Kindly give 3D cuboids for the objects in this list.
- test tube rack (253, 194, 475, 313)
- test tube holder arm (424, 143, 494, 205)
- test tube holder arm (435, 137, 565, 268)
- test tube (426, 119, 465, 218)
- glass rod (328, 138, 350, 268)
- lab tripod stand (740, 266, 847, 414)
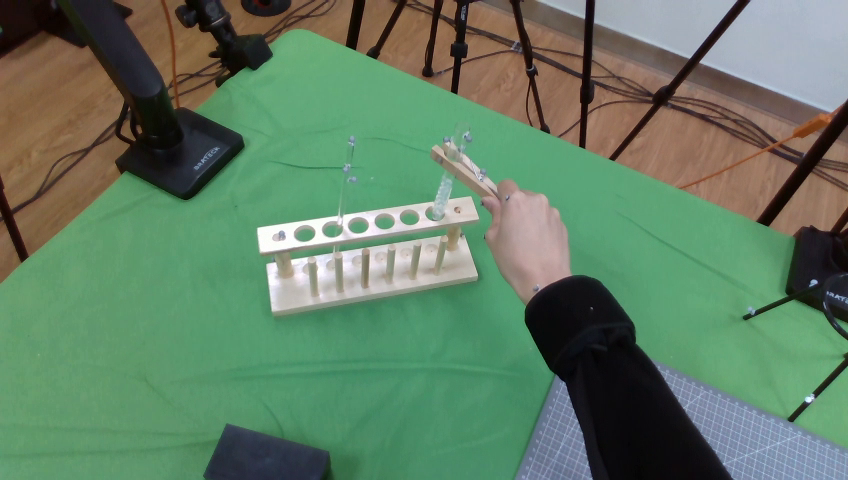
[{"bbox_3d":[-0.063,0.015,0.692,0.243,0.086,0.066,-9,58,-12],"label":"test tube rack"},{"bbox_3d":[0.036,-0.066,0.599,0.087,0.015,0.010,38,62,16],"label":"test tube holder arm"},{"bbox_3d":[0.071,-0.039,0.588,0.013,0.015,0.177,-35,69,-24],"label":"test tube holder arm"},{"bbox_3d":[0.020,-0.069,0.630,0.017,0.151,0.017,5,57,-7],"label":"test tube"},{"bbox_3d":[-0.092,-0.031,0.641,0.008,0.201,0.008,7,49,-8],"label":"glass rod"},{"bbox_3d":[0.432,0.103,0.655,0.148,0.132,0.147,3,57,-5],"label":"lab tripod stand"}]
